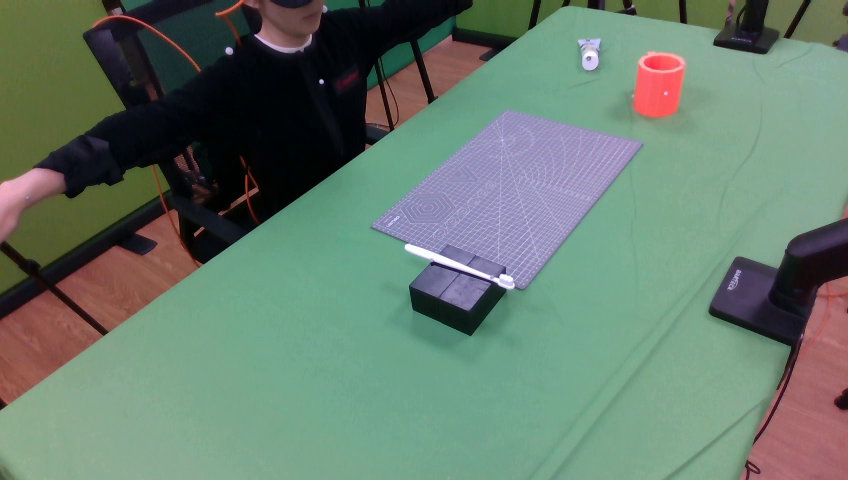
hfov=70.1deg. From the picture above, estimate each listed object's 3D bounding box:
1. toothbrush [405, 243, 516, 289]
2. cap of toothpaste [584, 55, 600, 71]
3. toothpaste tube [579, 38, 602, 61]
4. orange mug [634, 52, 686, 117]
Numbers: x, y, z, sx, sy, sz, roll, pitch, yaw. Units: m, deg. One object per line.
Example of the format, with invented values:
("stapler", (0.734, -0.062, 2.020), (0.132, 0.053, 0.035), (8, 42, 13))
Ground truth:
("toothbrush", (0.048, 0.034, 0.859), (0.180, 0.017, 0.014), (19, 51, 28))
("cap of toothpaste", (0.381, -0.403, 1.372), (0.037, 0.037, 0.011), (1, 38, 10))
("toothpaste tube", (0.398, -0.449, 1.433), (0.055, 0.034, 0.164), (6, 38, 8))
("orange mug", (0.469, -0.322, 1.219), (0.083, 0.101, 0.125), (-5, 45, 3))
